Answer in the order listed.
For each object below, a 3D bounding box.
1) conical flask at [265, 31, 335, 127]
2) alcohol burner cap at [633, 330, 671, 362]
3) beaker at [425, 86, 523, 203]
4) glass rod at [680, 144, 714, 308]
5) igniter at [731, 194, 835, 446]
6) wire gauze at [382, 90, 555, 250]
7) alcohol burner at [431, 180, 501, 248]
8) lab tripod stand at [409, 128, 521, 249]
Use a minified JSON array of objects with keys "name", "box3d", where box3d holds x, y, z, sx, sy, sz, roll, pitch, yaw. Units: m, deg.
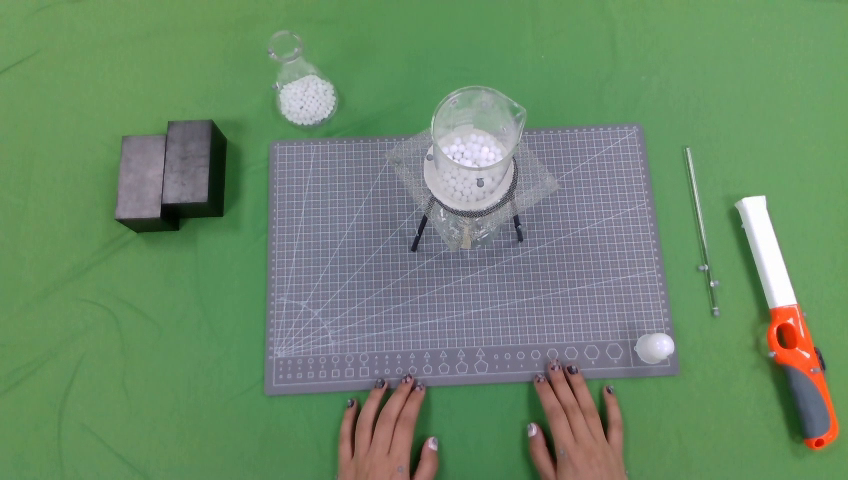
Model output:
[{"name":"conical flask","box3d":[-0.146,-0.187,0.690,0.075,0.122,0.075,0,74,1]},{"name":"alcohol burner cap","box3d":[0.246,0.111,0.647,0.034,0.048,0.033,0,75,1]},{"name":"beaker","box3d":[0.042,-0.080,0.534,0.084,0.100,0.073,-23,77,-6]},{"name":"glass rod","box3d":[0.316,-0.020,0.702,0.008,0.008,0.198,-3,75,-1]},{"name":"igniter","box3d":[0.392,0.081,0.664,0.057,0.025,0.275,-6,75,-12]},{"name":"wire gauze","box3d":[0.042,-0.068,0.581,0.125,0.011,0.121,-31,80,-9]},{"name":"alcohol burner","box3d":[0.046,-0.034,0.650,0.078,0.119,0.077,0,73,-1]},{"name":"lab tripod stand","box3d":[0.043,-0.046,0.643,0.148,0.132,0.147,0,77,1]}]
